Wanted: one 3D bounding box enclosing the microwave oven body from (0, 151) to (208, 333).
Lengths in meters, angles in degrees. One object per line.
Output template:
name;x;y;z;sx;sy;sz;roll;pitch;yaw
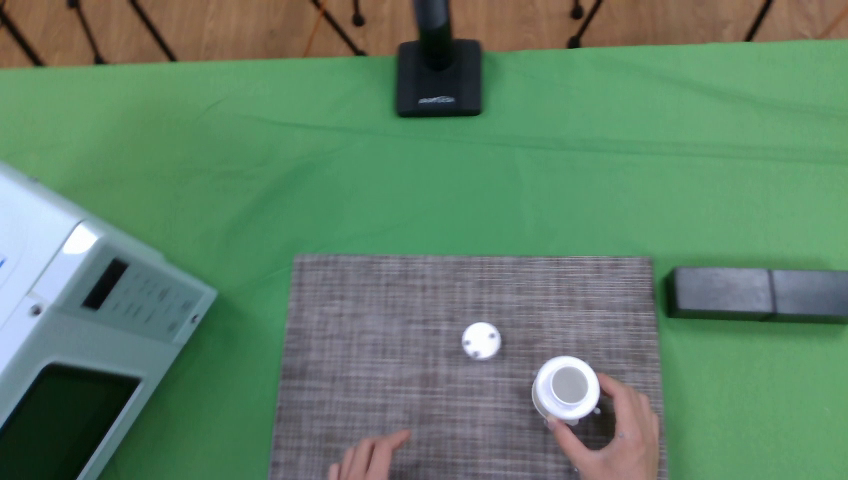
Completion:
microwave oven body;-0.515;0.131;0.654;0.324;0.262;0.440;28;79;13

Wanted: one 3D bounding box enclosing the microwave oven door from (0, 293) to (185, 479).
microwave oven door;-0.411;0.230;0.607;0.039;0.245;0.355;27;78;15

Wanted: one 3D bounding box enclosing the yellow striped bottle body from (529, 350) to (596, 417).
yellow striped bottle body;0.145;0.152;0.640;0.063;0.121;0.062;-2;71;6

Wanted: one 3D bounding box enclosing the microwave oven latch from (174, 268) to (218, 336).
microwave oven latch;-0.288;0.077;0.747;0.030;0.030;0.079;30;79;14

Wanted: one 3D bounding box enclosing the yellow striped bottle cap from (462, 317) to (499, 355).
yellow striped bottle cap;0.068;0.114;0.721;0.044;0.019;0.044;-2;74;7
